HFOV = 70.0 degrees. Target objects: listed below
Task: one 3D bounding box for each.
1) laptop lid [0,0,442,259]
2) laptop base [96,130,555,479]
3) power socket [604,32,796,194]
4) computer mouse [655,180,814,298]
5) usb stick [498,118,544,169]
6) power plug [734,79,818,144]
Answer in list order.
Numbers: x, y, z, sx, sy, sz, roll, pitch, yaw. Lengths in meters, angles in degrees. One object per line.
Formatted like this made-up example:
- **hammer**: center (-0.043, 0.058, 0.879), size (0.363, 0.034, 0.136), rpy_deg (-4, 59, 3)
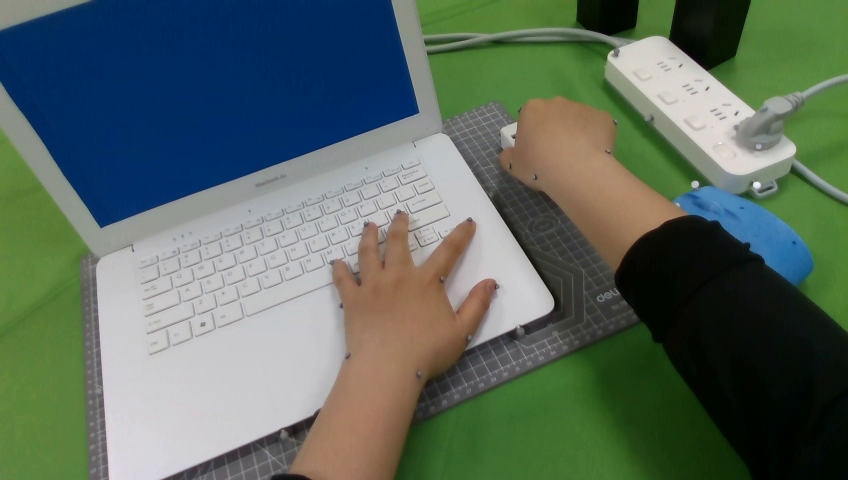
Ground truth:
- **laptop lid**: center (-0.168, -0.133, 0.518), size (0.357, 0.244, 0.013), rpy_deg (-23, 39, -7)
- **laptop base**: center (-0.098, 0.038, 0.520), size (0.354, 0.023, 0.233), rpy_deg (-22, 55, -8)
- **power socket**: center (0.254, -0.130, 0.580), size (0.072, 0.033, 0.224), rpy_deg (-21, 51, -6)
- **computer mouse**: center (0.243, -0.008, 0.480), size (0.063, 0.041, 0.116), rpy_deg (-27, 47, -11)
- **usb stick**: center (0.090, -0.096, 0.579), size (0.021, 0.027, 0.058), rpy_deg (-29, 52, -7)
- **power plug**: center (0.305, -0.102, 0.522), size (0.072, 0.053, 0.035), rpy_deg (-13, 53, -1)
